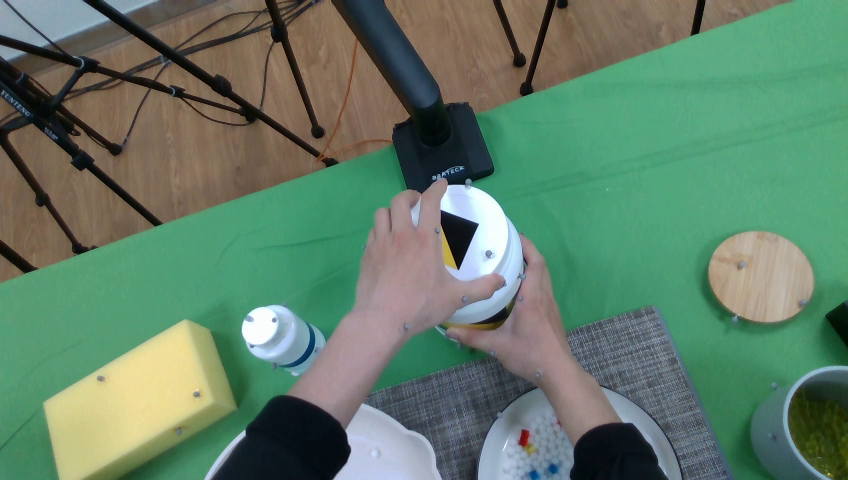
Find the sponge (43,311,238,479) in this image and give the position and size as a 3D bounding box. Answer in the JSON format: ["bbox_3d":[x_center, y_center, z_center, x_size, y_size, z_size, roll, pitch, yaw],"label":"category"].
[{"bbox_3d":[-0.352,0.195,0.755,0.207,0.061,0.117,-31,66,-1],"label":"sponge"}]

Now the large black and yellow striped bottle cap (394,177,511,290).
[{"bbox_3d":[0.026,-0.007,0.589,0.115,0.019,0.114,-6,66,15],"label":"large black and yellow striped bottle cap"}]

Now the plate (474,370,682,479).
[{"bbox_3d":[0.157,0.242,0.634,0.209,0.038,0.207,-4,69,11],"label":"plate"}]

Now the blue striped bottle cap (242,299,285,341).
[{"bbox_3d":[-0.178,0.088,0.669,0.044,0.021,0.044,-6,65,13],"label":"blue striped bottle cap"}]

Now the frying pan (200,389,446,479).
[{"bbox_3d":[-0.046,0.374,0.592,0.307,0.104,0.482,-40,58,-4],"label":"frying pan"}]

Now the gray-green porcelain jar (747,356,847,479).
[{"bbox_3d":[0.373,0.173,0.570,0.105,0.127,0.105,-4,68,11],"label":"gray-green porcelain jar"}]

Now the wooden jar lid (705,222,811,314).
[{"bbox_3d":[0.374,0.032,0.683,0.108,0.021,0.107,-4,70,11],"label":"wooden jar lid"}]

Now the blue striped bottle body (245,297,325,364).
[{"bbox_3d":[-0.167,0.106,0.716,0.063,0.122,0.062,-4,68,11],"label":"blue striped bottle body"}]

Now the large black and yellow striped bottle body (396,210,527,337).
[{"bbox_3d":[0.044,0.025,0.668,0.130,0.185,0.130,-4,68,11],"label":"large black and yellow striped bottle body"}]
